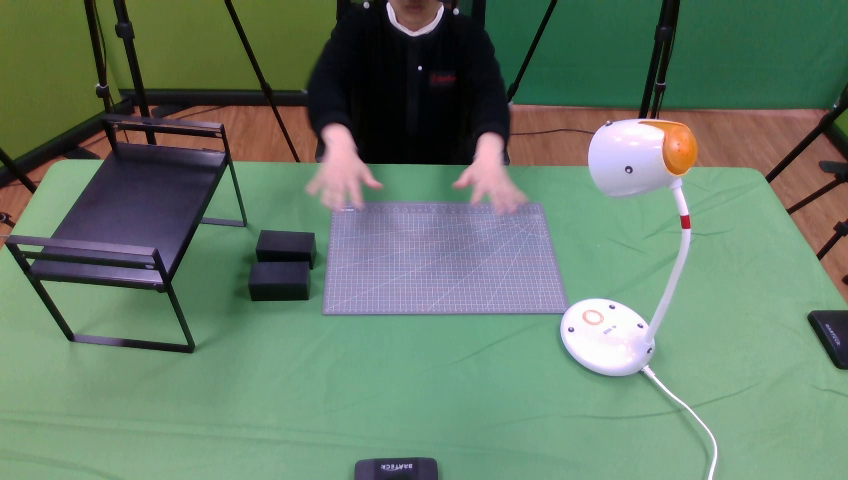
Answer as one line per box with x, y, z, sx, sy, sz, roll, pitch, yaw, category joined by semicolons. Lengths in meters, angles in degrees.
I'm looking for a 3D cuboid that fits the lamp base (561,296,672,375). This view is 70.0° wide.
0.332;0.119;0.996;0.160;0.181;0.178;-34;59;-31;lamp base

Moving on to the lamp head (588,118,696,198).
0.304;-0.113;0.823;0.112;0.112;0.122;-26;16;-25;lamp head
